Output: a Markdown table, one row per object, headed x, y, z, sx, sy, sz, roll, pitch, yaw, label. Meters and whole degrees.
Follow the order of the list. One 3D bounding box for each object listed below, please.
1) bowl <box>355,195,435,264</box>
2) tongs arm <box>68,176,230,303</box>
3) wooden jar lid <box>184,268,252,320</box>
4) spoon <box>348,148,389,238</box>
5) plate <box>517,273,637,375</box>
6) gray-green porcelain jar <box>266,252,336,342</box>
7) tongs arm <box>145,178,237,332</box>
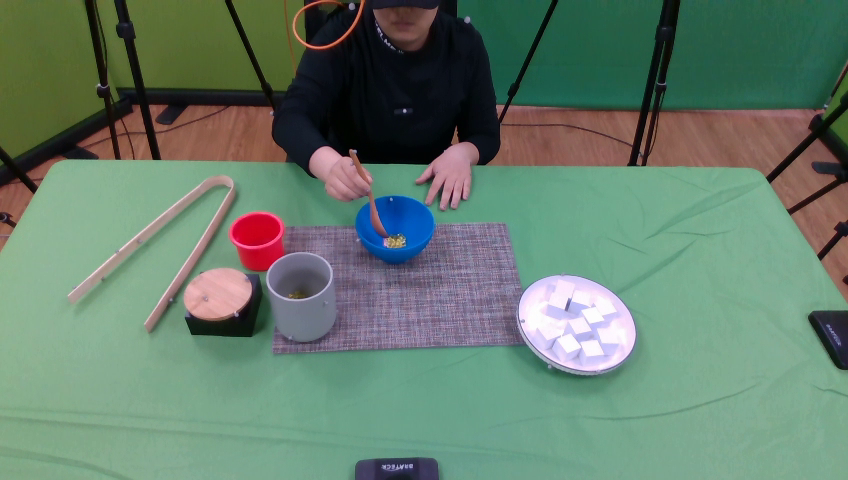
| x | y | z | sx | sy | sz | roll | pitch | yaw | label |
| --- | --- | --- | --- | --- | --- | --- | --- | --- | --- |
| -0.056 | -0.008 | 1.158 | 0.151 | 0.077 | 0.150 | 2 | 46 | -2 | bowl |
| -0.510 | -0.011 | 1.162 | 0.050 | 0.026 | 0.383 | 20 | 47 | 14 | tongs arm |
| -0.343 | 0.092 | 1.015 | 0.108 | 0.021 | 0.107 | 3 | 46 | -3 | wooden jar lid |
| -0.101 | -0.081 | 1.091 | 0.021 | 0.195 | 0.041 | -31 | 34 | -23 | spoon |
| 0.264 | 0.149 | 1.060 | 0.209 | 0.038 | 0.208 | 3 | 46 | -3 | plate |
| -0.202 | 0.100 | 1.009 | 0.106 | 0.127 | 0.105 | 2 | 46 | -2 | gray-green porcelain jar |
| -0.432 | 0.014 | 1.149 | 0.028 | 0.028 | 0.385 | 8 | 46 | 7 | tongs arm |
